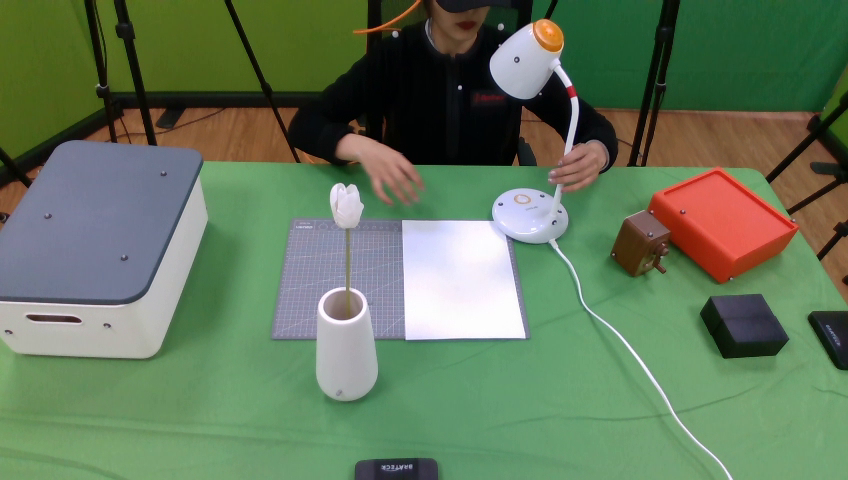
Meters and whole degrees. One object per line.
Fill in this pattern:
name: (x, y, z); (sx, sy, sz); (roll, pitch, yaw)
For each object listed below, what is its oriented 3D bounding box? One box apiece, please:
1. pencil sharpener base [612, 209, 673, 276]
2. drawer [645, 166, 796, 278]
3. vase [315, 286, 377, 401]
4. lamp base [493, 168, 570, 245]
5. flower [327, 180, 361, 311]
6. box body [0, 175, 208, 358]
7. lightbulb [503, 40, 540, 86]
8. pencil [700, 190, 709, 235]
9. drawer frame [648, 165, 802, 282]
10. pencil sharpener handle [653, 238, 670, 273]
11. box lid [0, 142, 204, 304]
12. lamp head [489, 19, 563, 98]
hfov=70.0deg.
pencil sharpener base: (0.416, 0.007, 1.158); (0.061, 0.107, 0.076); (-21, 51, -22)
drawer: (0.600, -0.041, 1.235); (0.195, 0.073, 0.210); (-21, 51, -23)
vase: (-0.119, 0.159, 0.911); (0.098, 0.201, 0.097); (2, 47, -2)
lamp base: (0.234, -0.100, 1.198); (0.161, 0.181, 0.178); (-21, 54, -24)
flower: (-0.110, 0.086, 0.867); (0.044, 0.363, 0.038); (22, 34, 36)
box body: (-0.546, 0.017, 1.045); (0.254, 0.161, 0.361); (2, 46, -2)
lightbulb: (0.181, -0.324, 1.101); (0.059, 0.108, 0.059); (5, 68, -13)
pencil: (0.583, -0.058, 1.256); (0.012, 0.012, 0.193); (16, 35, 12)
drawer frame: (0.603, -0.040, 1.233); (0.202, 0.083, 0.212); (-21, 51, -23)
pencil sharpener handle: (0.444, 0.030, 1.120); (0.036, 0.068, 0.030); (-25, 52, -18)
box lid: (-0.534, -0.044, 0.994); (0.263, 0.015, 0.369); (3, 45, -3)
lamp head: (0.193, -0.328, 1.078); (0.113, 0.123, 0.112); (10, 67, -24)
